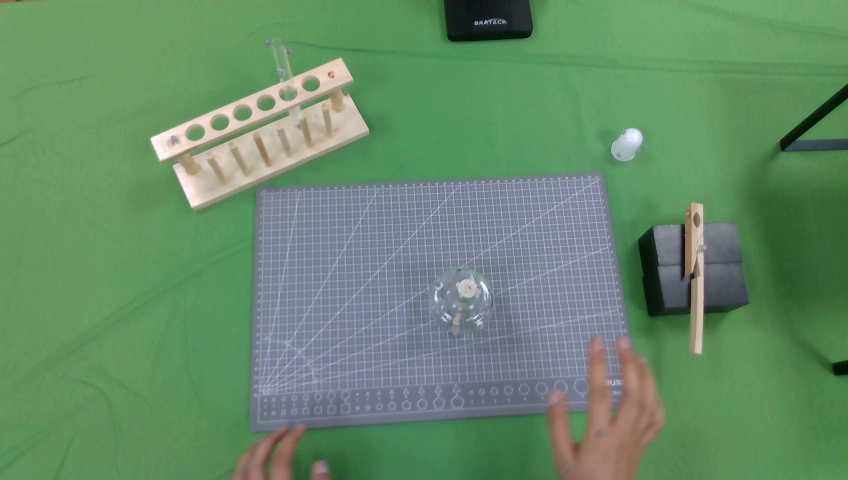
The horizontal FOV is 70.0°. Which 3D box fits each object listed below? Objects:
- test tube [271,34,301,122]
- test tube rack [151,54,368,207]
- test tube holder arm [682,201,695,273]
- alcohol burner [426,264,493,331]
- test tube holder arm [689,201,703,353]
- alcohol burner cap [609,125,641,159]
[{"bbox_3d":[-0.160,-0.186,0.715,0.017,0.151,0.017,1,67,-3],"label":"test tube"},{"bbox_3d":[-0.195,-0.134,0.749,0.242,0.085,0.066,-26,75,-10],"label":"test tube rack"},{"bbox_3d":[0.311,-0.003,0.712,0.010,0.015,0.087,6,74,1],"label":"test tube holder arm"},{"bbox_3d":[0.041,0.061,0.680,0.078,0.119,0.077,1,73,-3],"label":"alcohol burner"},{"bbox_3d":[0.313,0.040,0.699,0.013,0.015,0.177,4,74,1],"label":"test tube holder arm"},{"bbox_3d":[0.264,-0.129,0.788,0.034,0.048,0.033,0,72,0],"label":"alcohol burner cap"}]
